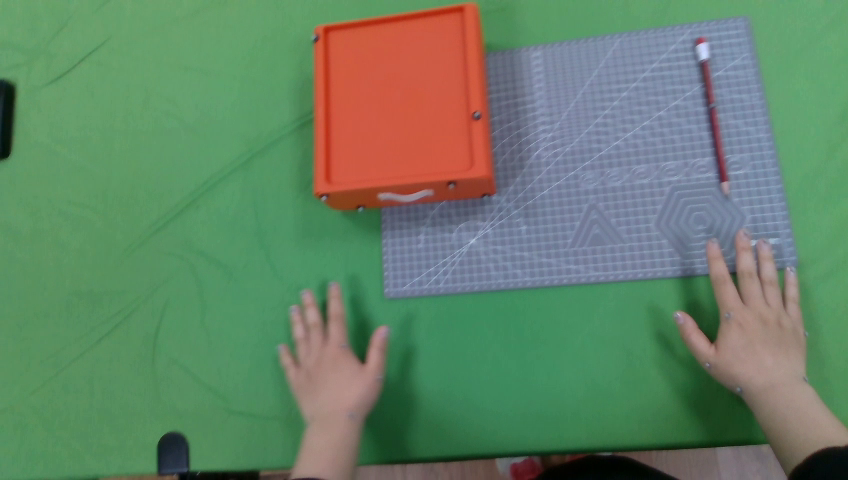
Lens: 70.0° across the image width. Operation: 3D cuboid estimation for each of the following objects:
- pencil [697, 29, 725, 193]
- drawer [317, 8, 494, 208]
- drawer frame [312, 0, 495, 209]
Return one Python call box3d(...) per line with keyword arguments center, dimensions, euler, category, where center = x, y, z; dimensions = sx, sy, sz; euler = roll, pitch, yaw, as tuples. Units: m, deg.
box3d(center=(0.323, -0.146, 0.680), dimensions=(0.012, 0.012, 0.193), euler=(-4, 80, 10), category="pencil")
box3d(center=(-0.024, -0.151, 0.710), dimensions=(0.194, 0.074, 0.210), euler=(-5, 76, 11), category="drawer")
box3d(center=(-0.026, -0.153, 0.709), dimensions=(0.201, 0.083, 0.212), euler=(-6, 76, 11), category="drawer frame")
